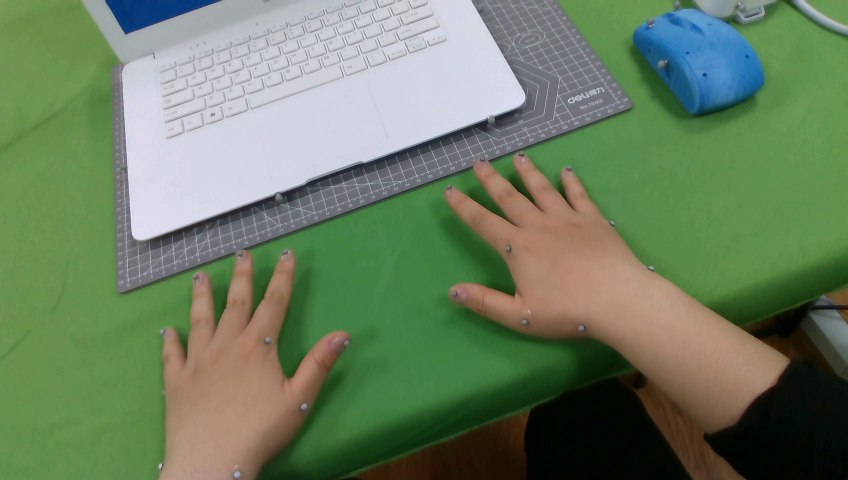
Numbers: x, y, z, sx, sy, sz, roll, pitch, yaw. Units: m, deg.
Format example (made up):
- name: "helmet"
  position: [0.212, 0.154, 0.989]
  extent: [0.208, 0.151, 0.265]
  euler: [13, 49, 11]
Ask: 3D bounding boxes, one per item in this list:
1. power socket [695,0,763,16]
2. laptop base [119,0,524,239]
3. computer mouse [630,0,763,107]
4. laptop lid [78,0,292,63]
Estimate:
- name: "power socket"
  position: [0.258, -0.297, 0.581]
  extent: [0.072, 0.033, 0.224]
  euler: [-18, 57, 1]
- name: "laptop base"
  position: [-0.111, -0.148, 0.572]
  extent: [0.354, 0.023, 0.233]
  euler: [-21, 60, -2]
- name: "computer mouse"
  position: [0.223, -0.162, 0.502]
  extent: [0.063, 0.041, 0.116]
  euler: [-21, 52, 1]
- name: "laptop lid"
  position: [-0.175, -0.320, 0.552]
  extent: [0.357, 0.244, 0.013]
  euler: [-22, 44, -1]
